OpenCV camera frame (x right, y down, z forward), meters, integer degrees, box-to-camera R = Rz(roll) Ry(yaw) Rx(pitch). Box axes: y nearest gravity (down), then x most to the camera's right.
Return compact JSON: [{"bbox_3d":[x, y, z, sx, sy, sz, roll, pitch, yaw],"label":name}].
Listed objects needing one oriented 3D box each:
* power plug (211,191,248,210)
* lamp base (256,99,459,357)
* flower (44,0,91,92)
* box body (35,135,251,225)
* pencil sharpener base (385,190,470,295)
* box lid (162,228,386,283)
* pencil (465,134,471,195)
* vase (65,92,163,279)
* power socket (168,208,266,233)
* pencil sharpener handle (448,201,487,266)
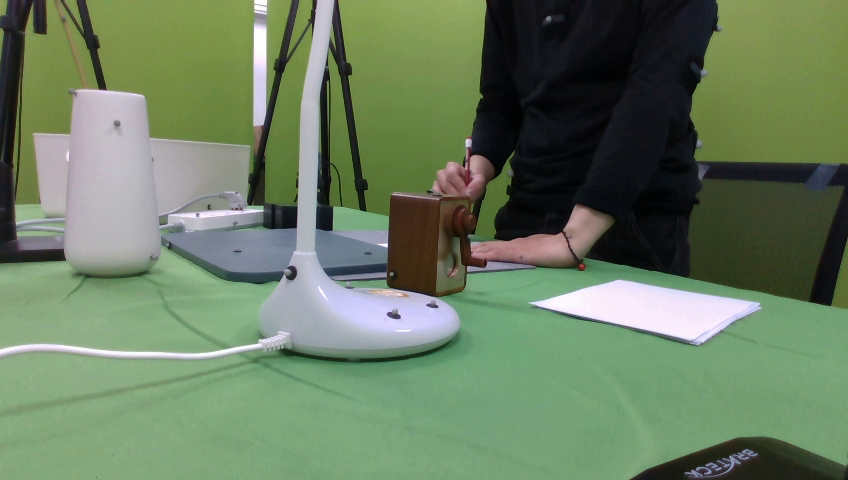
[{"bbox_3d":[-0.384,-0.071,1.205,0.072,0.052,0.035,1,8,28],"label":"power plug"},{"bbox_3d":[-0.055,-0.013,0.463,0.160,0.180,0.180,6,11,27],"label":"lamp base"},{"bbox_3d":[-0.361,-0.142,0.663,0.044,0.361,0.038,-12,11,30],"label":"flower"},{"bbox_3d":[-0.559,-0.127,1.257,0.253,0.160,0.365,4,8,15],"label":"box body"},{"bbox_3d":[0.006,0.001,0.653,0.076,0.107,0.061,8,9,37],"label":"pencil sharpener base"},{"bbox_3d":[-0.200,0.014,0.861,0.265,0.015,0.369,-4,10,-35],"label":"box lid"},{"bbox_3d":[0.077,-0.119,1.067,0.012,0.012,0.193,3,53,2],"label":"pencil"},{"bbox_3d":[-0.347,-0.060,0.673,0.098,0.200,0.098,1,7,0],"label":"vase"},{"bbox_3d":[-0.379,-0.038,1.129,0.072,0.032,0.227,4,8,18],"label":"power socket"},{"bbox_3d":[0.049,-0.006,0.623,0.030,0.068,0.036,8,22,37],"label":"pencil sharpener handle"}]
